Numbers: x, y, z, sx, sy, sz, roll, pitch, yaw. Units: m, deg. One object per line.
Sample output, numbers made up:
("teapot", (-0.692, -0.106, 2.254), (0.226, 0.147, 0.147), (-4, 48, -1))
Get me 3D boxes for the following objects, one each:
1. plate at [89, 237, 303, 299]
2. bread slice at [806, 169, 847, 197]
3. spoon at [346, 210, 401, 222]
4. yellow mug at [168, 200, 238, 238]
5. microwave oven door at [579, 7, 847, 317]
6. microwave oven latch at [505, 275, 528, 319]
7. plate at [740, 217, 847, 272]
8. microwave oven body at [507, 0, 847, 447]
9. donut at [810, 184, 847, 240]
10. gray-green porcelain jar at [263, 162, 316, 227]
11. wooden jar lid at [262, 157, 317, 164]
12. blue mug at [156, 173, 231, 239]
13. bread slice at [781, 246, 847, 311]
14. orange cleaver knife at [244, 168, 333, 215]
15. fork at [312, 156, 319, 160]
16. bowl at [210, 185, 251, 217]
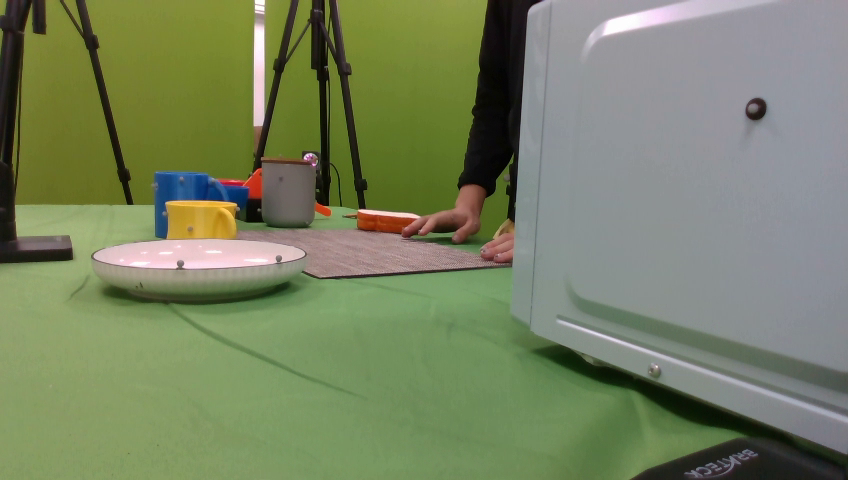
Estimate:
("plate", (-0.233, 0.029, 0.636), (0.208, 0.039, 0.207), (2, 7, 0))
("bread slice", (0.365, -0.051, 0.453), (0.135, 0.018, 0.106), (-10, 1, -23))
("spoon", (-0.121, -0.060, 1.400), (0.042, 0.021, 0.192), (-26, 24, -38))
("yellow mug", (-0.320, -0.023, 0.904), (0.130, 0.064, 0.100), (9, 10, 36))
("microwave oven door", (0.294, -0.067, 0.570), (0.358, 0.243, 0.039), (-3, 9, -31))
("microwave oven latch", (0.100, 0.041, 0.471), (0.079, 0.029, 0.030), (-1, 7, -28))
("plate", (0.358, 0.002, 0.465), (0.209, 0.038, 0.209), (0, 4, 0))
("microwave oven body", (0.331, -0.042, 0.425), (0.444, 0.260, 0.324), (-2, 8, -31))
("donut", (0.352, -0.025, 0.463), (0.099, 0.048, 0.099), (-10, 4, 1))
("gray-green porcelain jar", (-0.271, -0.092, 1.217), (0.106, 0.126, 0.106), (2, 7, 0))
("wooden jar lid", (-0.269, -0.154, 1.208), (0.108, 0.020, 0.108), (3, 4, 0))
("blue mug", (-0.381, -0.057, 1.004), (0.117, 0.106, 0.082), (0, 8, -12))
("bread slice", (0.369, 0.021, 0.474), (0.132, 0.019, 0.104), (-23, 11, -11))
("orange cleaver knife", (-0.300, -0.089, 1.351), (0.212, 0.077, 0.012), (28, -9, -34))
("fork", (-0.331, -0.144, 1.506), (0.207, 0.018, 0.028), (-42, -20, 22))
("bowl", (-0.408, -0.064, 1.154), (0.151, 0.077, 0.151), (2, 8, 0))
